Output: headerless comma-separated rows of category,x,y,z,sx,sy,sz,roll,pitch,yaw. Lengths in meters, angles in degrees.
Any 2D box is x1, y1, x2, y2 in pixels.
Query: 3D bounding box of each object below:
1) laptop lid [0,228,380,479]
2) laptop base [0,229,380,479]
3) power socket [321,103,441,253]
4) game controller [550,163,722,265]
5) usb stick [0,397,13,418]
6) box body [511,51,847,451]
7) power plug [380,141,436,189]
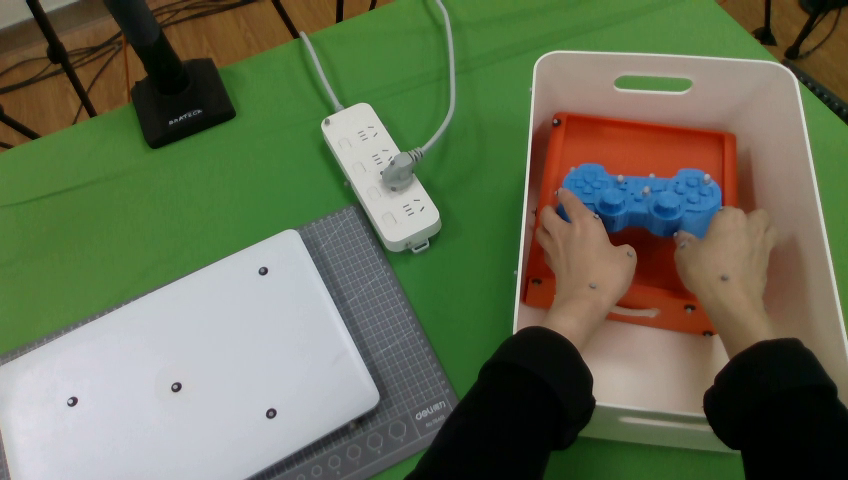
laptop lid,-0.249,0.150,0.622,0.357,0.013,0.239,-26,65,-9
laptop base,-0.249,0.153,0.633,0.354,0.023,0.233,-27,67,-10
power socket,-0.055,-0.081,0.738,0.072,0.033,0.224,-26,63,-11
game controller,0.203,-0.031,0.580,0.154,0.052,0.096,6,52,14
usb stick,-0.456,0.176,0.621,0.059,0.027,0.021,-23,57,-11
box body,0.220,0.007,0.597,0.254,0.162,0.361,5,62,7
power plug,-0.015,-0.081,0.709,0.072,0.053,0.035,-16,61,-6
